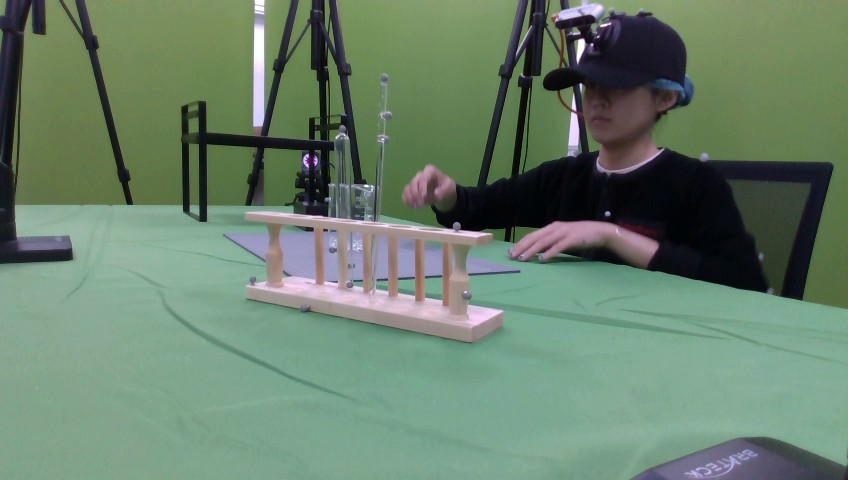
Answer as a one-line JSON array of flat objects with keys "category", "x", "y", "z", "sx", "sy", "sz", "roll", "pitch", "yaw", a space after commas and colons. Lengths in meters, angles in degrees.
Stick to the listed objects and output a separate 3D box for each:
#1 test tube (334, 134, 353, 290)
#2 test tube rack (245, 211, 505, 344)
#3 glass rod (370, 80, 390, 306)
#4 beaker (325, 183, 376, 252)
[{"category": "test tube", "x": -0.077, "y": -0.026, "z": 0.579, "sx": 0.017, "sy": 0.150, "sz": 0.017, "roll": 0, "pitch": 7, "yaw": 0}, {"category": "test tube rack", "x": -0.049, "y": 0.025, "z": 0.547, "sx": 0.241, "sy": 0.085, "sz": 0.067, "roll": 7, "pitch": 8, "yaw": 29}, {"category": "glass rod", "x": -0.038, "y": -0.039, "z": 0.530, "sx": 0.008, "sy": 0.199, "sz": 0.008, "roll": 4, "pitch": 2, "yaw": 0}, {"category": "beaker", "x": -0.110, "y": -0.034, "z": 0.920, "sx": 0.083, "sy": 0.100, "sz": 0.074, "roll": 10, "pitch": 11, "yaw": 43}]
